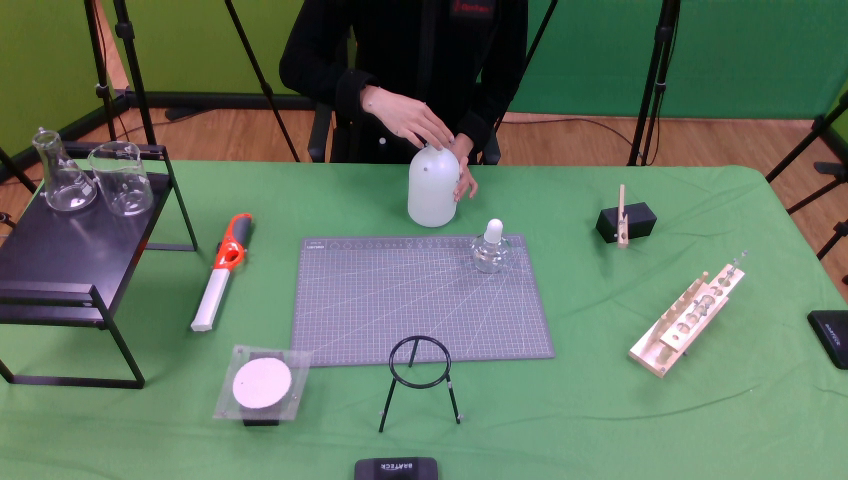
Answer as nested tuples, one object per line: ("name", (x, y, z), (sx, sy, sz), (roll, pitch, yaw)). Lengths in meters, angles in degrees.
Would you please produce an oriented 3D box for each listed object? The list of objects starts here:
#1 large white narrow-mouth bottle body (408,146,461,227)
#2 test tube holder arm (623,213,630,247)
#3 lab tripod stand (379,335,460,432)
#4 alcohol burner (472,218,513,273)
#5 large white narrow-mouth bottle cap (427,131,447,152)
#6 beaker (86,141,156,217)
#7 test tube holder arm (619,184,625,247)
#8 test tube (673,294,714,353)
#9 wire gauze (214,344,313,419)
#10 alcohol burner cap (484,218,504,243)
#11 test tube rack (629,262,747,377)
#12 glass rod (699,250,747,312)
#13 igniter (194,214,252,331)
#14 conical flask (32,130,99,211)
("large white narrow-mouth bottle body", (0.022, -0.124, 1.198), (0.102, 0.195, 0.101), (2, 46, -2))
("test tube holder arm", (0.393, -0.020, 1.179), (0.010, 0.015, 0.087), (13, 46, 2))
("lab tripod stand", (-0.011, 0.214, 0.911), (0.148, 0.132, 0.147), (1, 45, 0))
("alcohol burner", (0.128, 0.005, 1.132), (0.078, 0.120, 0.077), (0, 47, 0))
("large white narrow-mouth bottle cap", (0.025, -0.185, 1.133), (0.038, 0.024, 0.037), (2, 46, -2))
("beaker", (-0.467, -0.092, 0.950), (0.084, 0.101, 0.073), (15, 47, 11))
("test tube holder arm", (0.396, -0.053, 1.210), (0.013, 0.015, 0.177), (14, 46, 2))
("test tube", (0.428, 0.137, 0.978), (0.017, 0.151, 0.017), (4, 47, -4))
("wire gauze", (-0.241, 0.213, 0.915), (0.121, 0.011, 0.124), (5, 46, 1))
("alcohol burner cap", (0.130, -0.021, 1.106), (0.034, 0.048, 0.033), (3, 51, -4))
("test tube rack", (0.464, 0.126, 1.061), (0.242, 0.085, 0.066), (-34, 56, -30))
("glass rod", (0.500, 0.075, 1.021), (0.008, 0.201, 0.008), (0, 55, 0))
("igniter", (-0.367, 0.050, 1.119), (0.057, 0.025, 0.275), (-4, 46, 7))
("conical flask", (-0.565, -0.111, 0.944), (0.075, 0.122, 0.075), (2, 46, -2))
